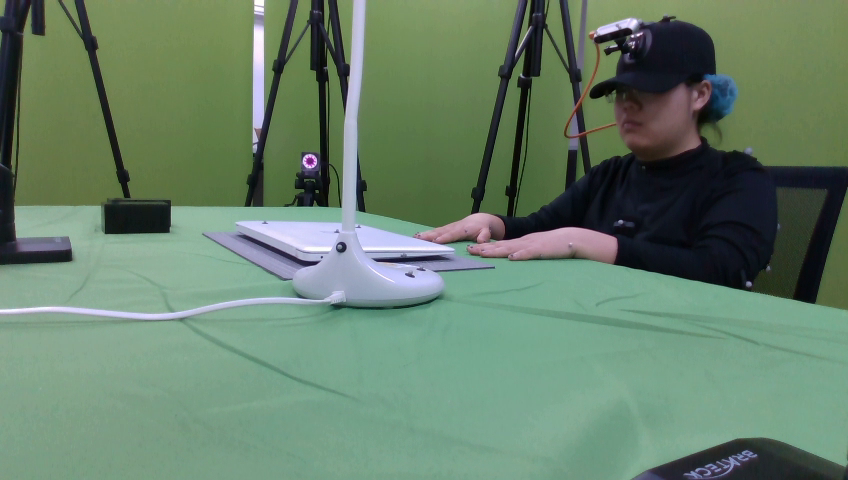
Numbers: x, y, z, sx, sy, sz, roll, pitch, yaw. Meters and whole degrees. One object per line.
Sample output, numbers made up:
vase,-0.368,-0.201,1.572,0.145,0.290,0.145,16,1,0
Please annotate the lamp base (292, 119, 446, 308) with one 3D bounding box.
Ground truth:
lamp base,-0.056,-0.030,0.616,0.160,0.180,0.179,3,10,8

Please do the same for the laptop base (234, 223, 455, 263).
laptop base,-0.141,0.003,0.959,0.237,0.023,0.352,2,6,-32

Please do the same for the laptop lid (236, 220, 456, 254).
laptop lid,-0.139,-0.008,0.959,0.243,0.013,0.355,1,7,-30
